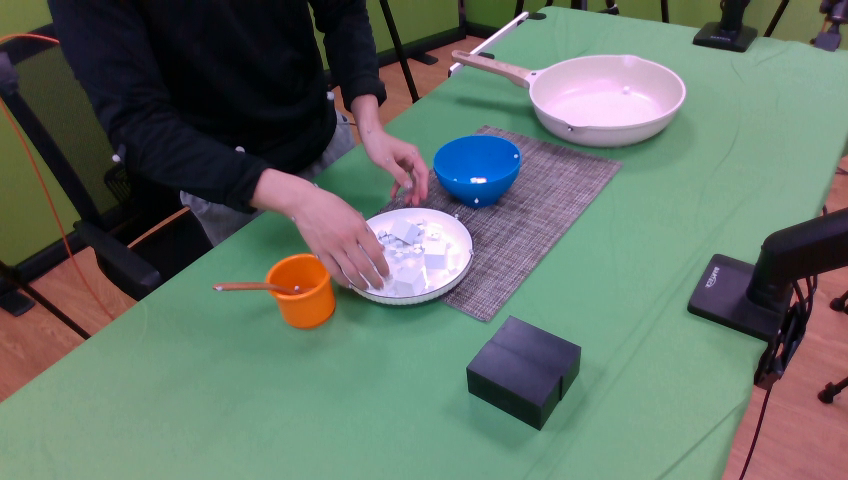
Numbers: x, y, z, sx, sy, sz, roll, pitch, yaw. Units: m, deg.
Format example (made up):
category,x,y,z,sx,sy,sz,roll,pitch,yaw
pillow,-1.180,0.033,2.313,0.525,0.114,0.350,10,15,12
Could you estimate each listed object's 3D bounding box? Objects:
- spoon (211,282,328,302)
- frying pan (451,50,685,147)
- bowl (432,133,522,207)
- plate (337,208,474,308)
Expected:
category,x,y,z,sx,sy,sz,roll,pitch,yaw
spoon,-0.205,0.067,0.822,0.041,0.195,0.021,28,96,35
frying pan,0.269,-0.316,1.233,0.485,0.103,0.307,26,49,21
bowl,0.092,-0.110,1.034,0.151,0.077,0.150,-4,41,4
plate,-0.026,0.029,0.922,0.207,0.039,0.206,-4,41,4
